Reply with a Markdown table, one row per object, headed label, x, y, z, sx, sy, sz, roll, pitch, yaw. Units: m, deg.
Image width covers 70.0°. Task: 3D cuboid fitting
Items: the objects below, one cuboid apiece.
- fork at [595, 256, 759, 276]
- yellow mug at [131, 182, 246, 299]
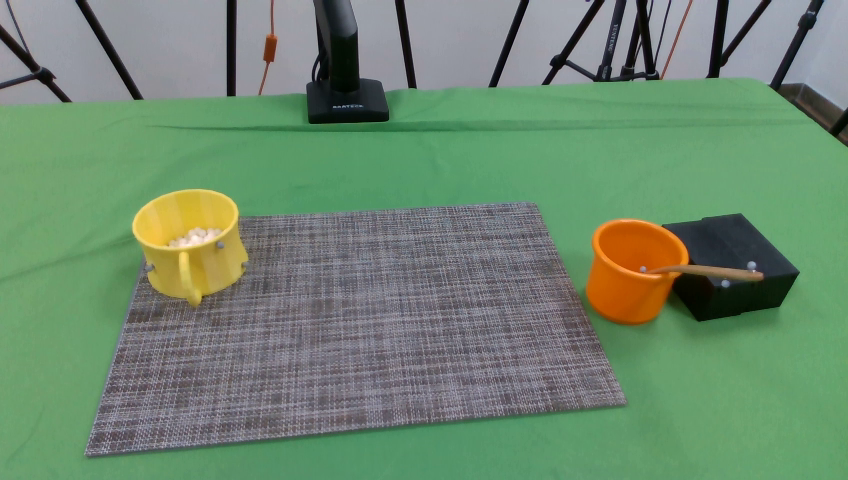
| label | x | y | z | sx | sy | sz | roll | pitch | yaw |
| --- | --- | --- | --- | --- | --- | --- | --- | --- | --- |
| fork | 0.224 | 0.025 | 0.561 | 0.028 | 0.018 | 0.207 | -2 | -4 | -17 |
| yellow mug | -0.235 | 0.004 | 0.612 | 0.100 | 0.064 | 0.129 | -8 | 43 | -13 |
